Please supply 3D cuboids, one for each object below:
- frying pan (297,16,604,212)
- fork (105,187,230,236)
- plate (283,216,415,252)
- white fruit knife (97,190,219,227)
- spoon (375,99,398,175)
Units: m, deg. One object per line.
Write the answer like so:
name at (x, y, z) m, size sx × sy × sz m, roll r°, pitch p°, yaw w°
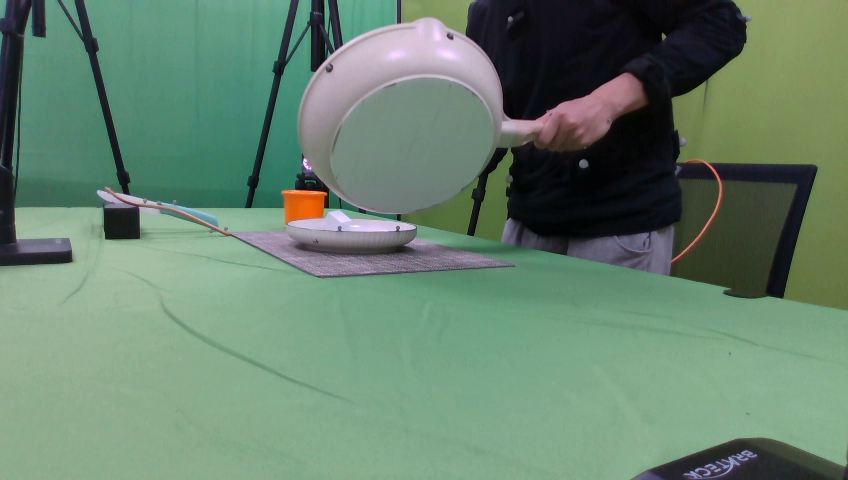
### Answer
frying pan at (0.070, -0.158, 0.873) m, size 0.490 × 0.306 × 0.102 m, roll -8°, pitch 49°, yaw -26°
fork at (-0.428, -0.047, 1.020) m, size 0.208 × 0.018 × 0.028 m, roll 19°, pitch -8°, yaw -26°
plate at (-0.119, -0.009, 0.968) m, size 0.208 × 0.039 × 0.207 m, roll 3°, pitch 7°, yaw 0°
white fruit knife at (-0.468, -0.057, 1.079) m, size 0.208 × 0.027 × 0.016 m, roll 16°, pitch -2°, yaw -29°
spoon at (-0.057, -0.167, 0.946) m, size 0.042 × 0.021 × 0.193 m, roll 31°, pitch 34°, yaw -27°
